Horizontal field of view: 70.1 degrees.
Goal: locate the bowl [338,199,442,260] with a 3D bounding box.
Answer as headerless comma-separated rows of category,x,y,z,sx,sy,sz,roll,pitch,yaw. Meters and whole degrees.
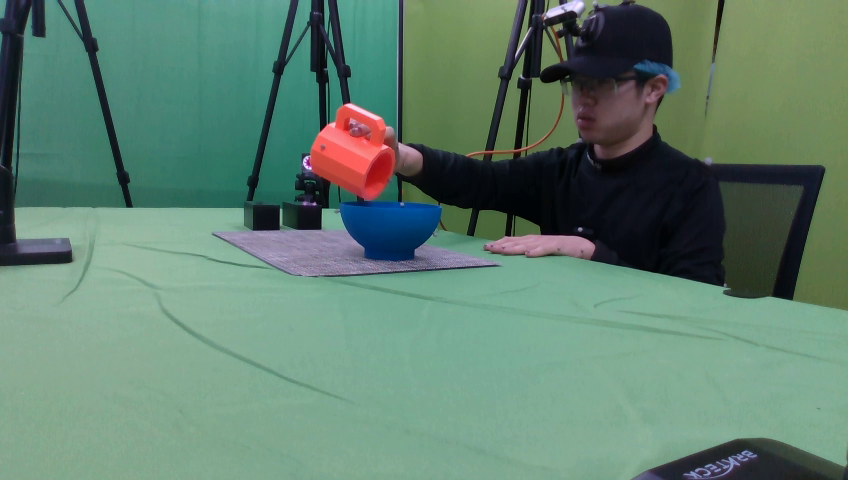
bowl,-0.050,-0.015,0.878,0.151,0.077,0.151,2,8,0

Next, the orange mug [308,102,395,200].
orange mug,-0.100,-0.133,0.886,0.100,0.126,0.084,32,34,16
